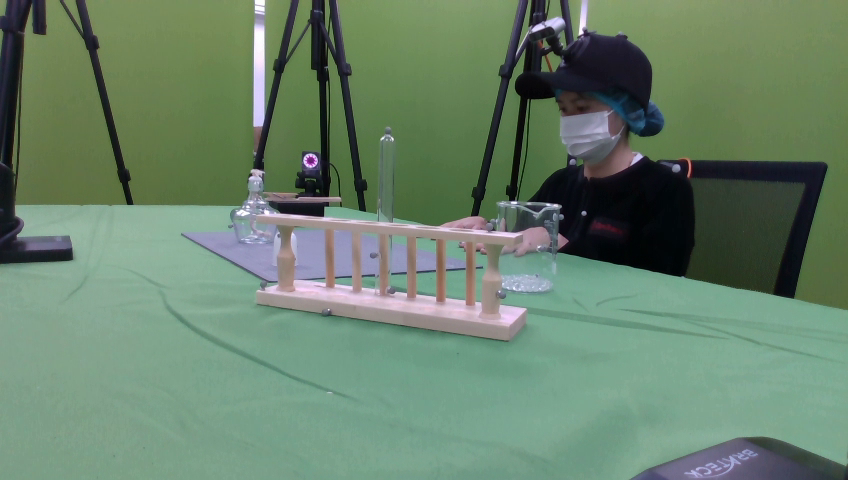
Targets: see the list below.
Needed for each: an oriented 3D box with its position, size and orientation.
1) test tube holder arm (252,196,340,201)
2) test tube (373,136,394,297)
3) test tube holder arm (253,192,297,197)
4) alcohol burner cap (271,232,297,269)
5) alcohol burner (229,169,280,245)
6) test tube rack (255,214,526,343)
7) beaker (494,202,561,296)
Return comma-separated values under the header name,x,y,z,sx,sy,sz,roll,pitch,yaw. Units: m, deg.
name,x,y,z,sx,sy,sz,roll,pitch,yaw
test tube holder arm,-0.260,-0.086,1.243,0.179,0.013,0.015,-1,7,-25
test tube,-0.038,-0.021,0.564,0.017,0.150,0.017,2,6,0
test tube holder arm,-0.301,-0.092,1.223,0.088,0.010,0.015,0,7,-25
alcohol burner cap,-0.175,0.012,0.761,0.034,0.048,0.034,2,7,0
alcohol burner,-0.268,-0.053,0.958,0.078,0.119,0.078,2,6,0
test tube rack,-0.032,0.027,0.546,0.241,0.085,0.067,5,7,21
beaker,0.116,0.009,0.687,0.074,0.100,0.084,2,8,-4
